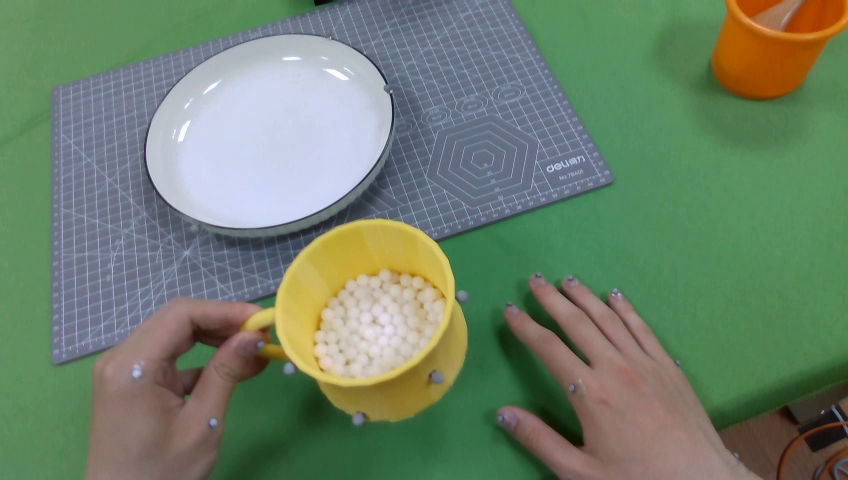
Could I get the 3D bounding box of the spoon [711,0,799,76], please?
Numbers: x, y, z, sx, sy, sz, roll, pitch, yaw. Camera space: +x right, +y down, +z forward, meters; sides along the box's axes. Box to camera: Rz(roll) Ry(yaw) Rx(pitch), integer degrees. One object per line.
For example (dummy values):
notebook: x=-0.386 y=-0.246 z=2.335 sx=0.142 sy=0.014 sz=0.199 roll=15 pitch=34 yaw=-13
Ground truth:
spoon: x=0.302 y=-0.206 z=0.464 sx=0.194 sy=0.022 sz=0.041 roll=-46 pitch=55 yaw=26

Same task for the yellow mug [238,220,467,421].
yellow mug: x=-0.043 y=0.050 z=0.352 sx=0.131 sy=0.064 sz=0.099 roll=-11 pitch=57 yaw=4

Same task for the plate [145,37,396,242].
plate: x=-0.124 y=-0.085 z=0.510 sx=0.207 sy=0.039 sz=0.206 roll=-3 pitch=60 yaw=5
